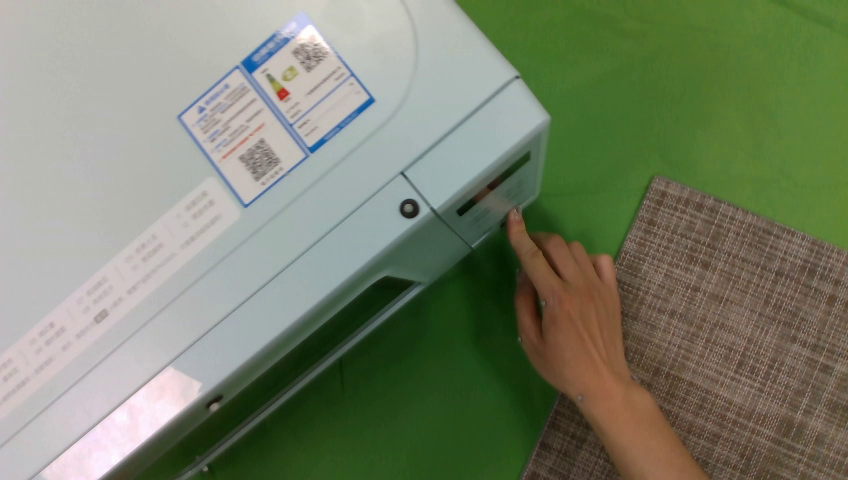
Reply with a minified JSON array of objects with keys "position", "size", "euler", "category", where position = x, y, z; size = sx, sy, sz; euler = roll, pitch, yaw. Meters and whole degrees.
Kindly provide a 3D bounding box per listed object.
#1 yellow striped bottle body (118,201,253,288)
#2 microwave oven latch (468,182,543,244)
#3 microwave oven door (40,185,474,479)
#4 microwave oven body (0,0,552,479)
[{"position":[-0.185,0.006,0.473],"size":[0.063,0.120,0.062],"euler":[0,85,5],"category":"yellow striped bottle body"},{"position":[0.066,-0.031,0.528],"size":[0.079,0.029,0.030],"euler":[-38,81,5],"category":"microwave oven latch"},{"position":[-0.121,0.096,0.443],"size":[0.356,0.245,0.039],"euler":[-39,79,4],"category":"microwave oven door"},{"position":[-0.177,-0.043,0.469],"size":[0.442,0.261,0.325],"euler":[-39,81,4],"category":"microwave oven body"}]
